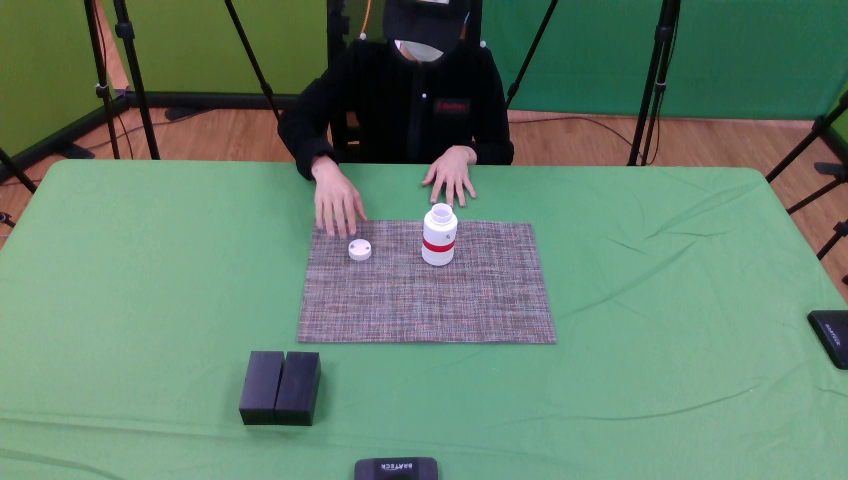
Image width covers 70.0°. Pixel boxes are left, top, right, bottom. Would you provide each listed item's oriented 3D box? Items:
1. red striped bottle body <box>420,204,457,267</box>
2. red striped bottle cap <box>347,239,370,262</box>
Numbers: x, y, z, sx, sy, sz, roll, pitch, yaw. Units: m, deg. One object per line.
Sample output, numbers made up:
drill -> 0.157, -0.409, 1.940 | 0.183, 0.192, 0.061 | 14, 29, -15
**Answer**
red striped bottle body -> 0.027, -0.011, 1.138 | 0.063, 0.120, 0.062 | 3, 45, -3
red striped bottle cap -> -0.126, 0.020, 1.169 | 0.044, 0.018, 0.044 | 2, 50, -2
